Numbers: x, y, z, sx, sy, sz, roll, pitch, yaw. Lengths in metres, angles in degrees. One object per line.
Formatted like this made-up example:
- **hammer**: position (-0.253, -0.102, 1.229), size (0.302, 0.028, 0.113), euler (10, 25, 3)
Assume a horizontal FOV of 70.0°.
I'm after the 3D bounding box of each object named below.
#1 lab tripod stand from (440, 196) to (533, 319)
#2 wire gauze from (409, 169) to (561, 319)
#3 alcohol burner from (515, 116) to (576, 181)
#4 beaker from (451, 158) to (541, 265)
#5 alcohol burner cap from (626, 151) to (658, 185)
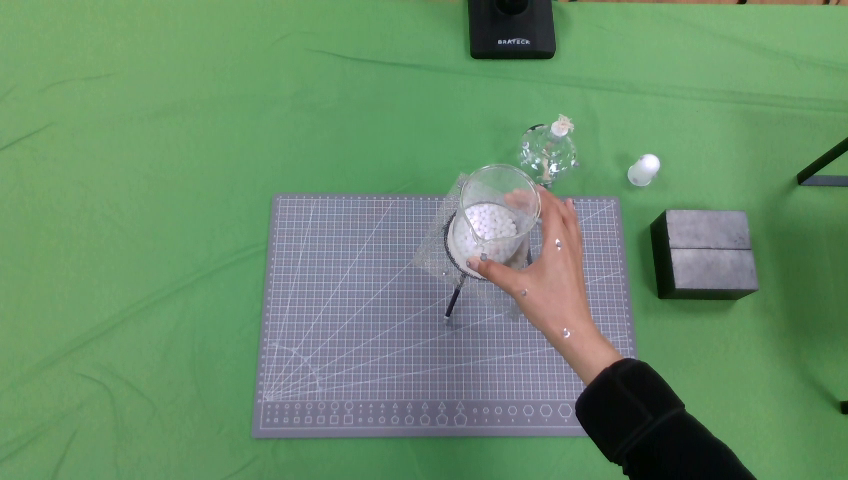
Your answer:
- **lab tripod stand**: position (0.064, 0.015, 0.691), size (0.148, 0.132, 0.147), euler (1, 70, -3)
- **wire gauze**: position (0.064, 0.000, 0.627), size (0.125, 0.011, 0.121), euler (28, 73, 5)
- **alcohol burner**: position (0.155, -0.121, 0.754), size (0.078, 0.119, 0.077), euler (1, 71, -3)
- **beaker**: position (0.063, -0.020, 0.581), size (0.074, 0.101, 0.083), euler (25, 72, 6)
- **alcohol burner cap**: position (0.286, -0.096, 0.789), size (0.034, 0.048, 0.033), euler (0, 70, 0)
